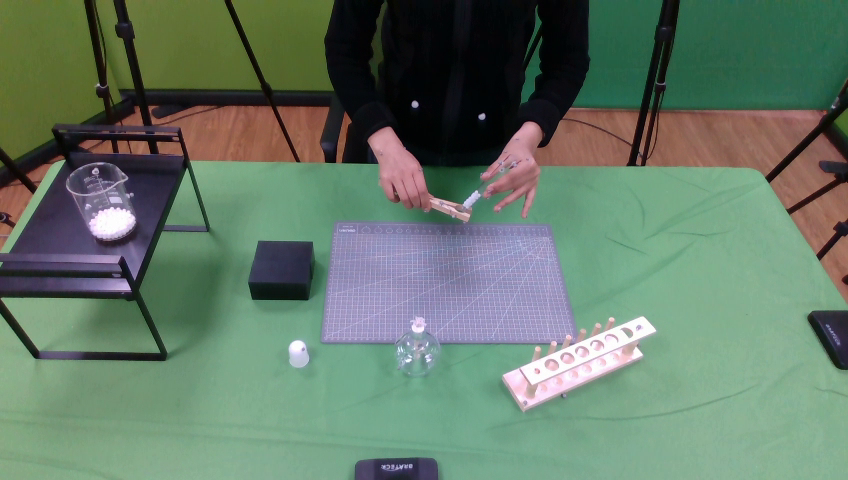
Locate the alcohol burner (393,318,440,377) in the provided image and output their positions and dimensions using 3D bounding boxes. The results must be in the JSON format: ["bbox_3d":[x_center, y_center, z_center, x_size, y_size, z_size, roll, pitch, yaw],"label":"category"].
[{"bbox_3d":[-0.011,0.166,0.971,0.078,0.120,0.077,1,45,-1],"label":"alcohol burner"}]

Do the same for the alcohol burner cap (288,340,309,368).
[{"bbox_3d":[-0.207,0.183,0.991,0.034,0.048,0.033,3,46,-3],"label":"alcohol burner cap"}]

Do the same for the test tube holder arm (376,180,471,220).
[{"bbox_3d":[-0.002,-0.073,1.090,0.178,0.015,0.013,19,37,3],"label":"test tube holder arm"}]

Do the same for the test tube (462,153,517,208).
[{"bbox_3d":[0.108,-0.098,1.025,0.017,0.150,0.017,17,52,-23],"label":"test tube"}]

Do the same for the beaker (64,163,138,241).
[{"bbox_3d":[-0.477,-0.055,0.910,0.084,0.101,0.073,-9,47,-13],"label":"beaker"}]

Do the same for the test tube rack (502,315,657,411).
[{"bbox_3d":[0.253,0.186,0.988,0.242,0.085,0.066,-18,50,-20],"label":"test tube rack"}]

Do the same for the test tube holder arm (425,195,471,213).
[{"bbox_3d":[0.042,-0.062,1.094,0.088,0.015,0.010,15,38,-3],"label":"test tube holder arm"}]
